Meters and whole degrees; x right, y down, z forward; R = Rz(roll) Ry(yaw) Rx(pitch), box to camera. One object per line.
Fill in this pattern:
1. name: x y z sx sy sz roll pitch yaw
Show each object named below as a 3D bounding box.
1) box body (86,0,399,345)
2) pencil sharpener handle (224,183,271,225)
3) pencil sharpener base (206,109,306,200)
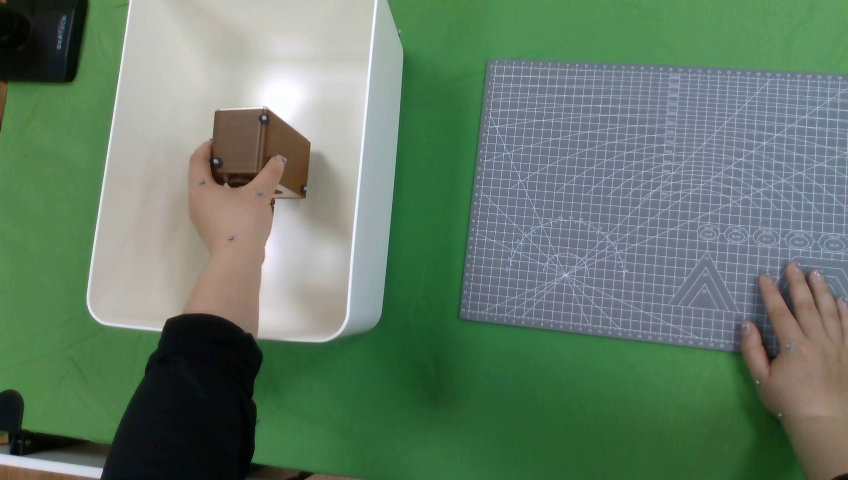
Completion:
1. box body: -0.169 -0.081 0.638 0.254 0.161 0.363 3 83 9
2. pencil sharpener handle: -0.180 -0.037 0.629 0.036 0.068 0.030 -1 80 18
3. pencil sharpener base: -0.177 -0.085 0.649 0.061 0.107 0.076 0 81 13
